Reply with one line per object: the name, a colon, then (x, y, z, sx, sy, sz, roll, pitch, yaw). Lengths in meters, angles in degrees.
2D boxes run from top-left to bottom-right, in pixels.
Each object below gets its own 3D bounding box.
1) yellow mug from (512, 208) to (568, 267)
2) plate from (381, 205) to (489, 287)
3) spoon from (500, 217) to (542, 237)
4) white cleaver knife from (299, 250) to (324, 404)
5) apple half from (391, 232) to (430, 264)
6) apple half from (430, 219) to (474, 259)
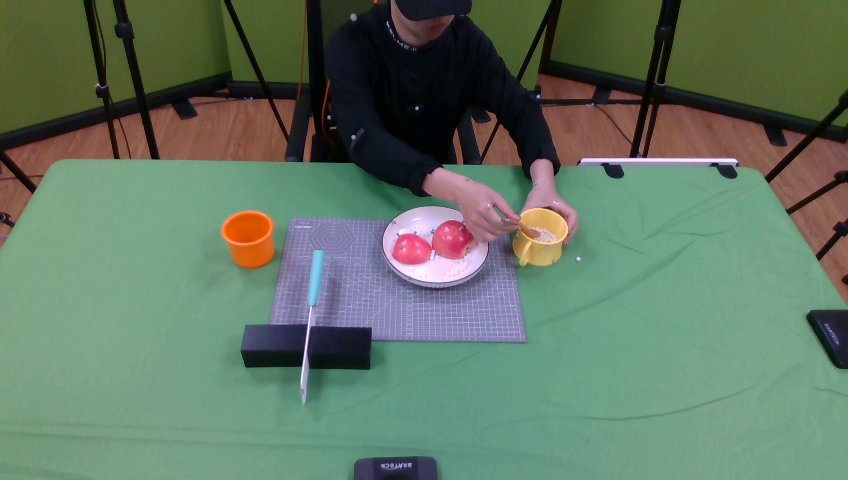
yellow mug: (0.219, 0.002, 1.182, 0.099, 0.064, 0.130, 26, 51, 21)
plate: (0.021, 0.015, 1.170, 0.209, 0.038, 0.208, 2, 46, -2)
spoon: (0.179, -0.027, 1.131, 0.041, 0.194, 0.021, 22, 90, 29)
white cleaver knife: (-0.194, 0.134, 1.019, 0.021, 0.066, 0.284, 5, 50, -5)
apple half: (-0.024, 0.009, 1.163, 0.081, 0.033, 0.081, 2, 43, -2)
apple half: (0.056, -0.007, 1.172, 0.081, 0.053, 0.074, -33, 59, -31)
